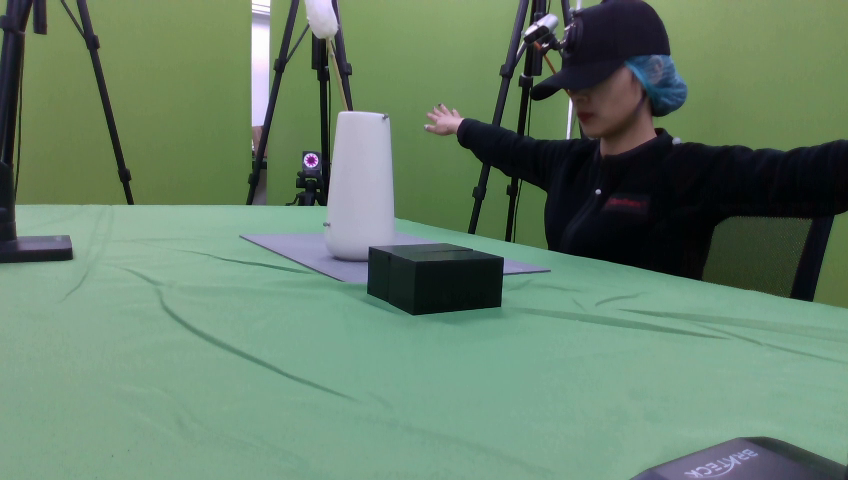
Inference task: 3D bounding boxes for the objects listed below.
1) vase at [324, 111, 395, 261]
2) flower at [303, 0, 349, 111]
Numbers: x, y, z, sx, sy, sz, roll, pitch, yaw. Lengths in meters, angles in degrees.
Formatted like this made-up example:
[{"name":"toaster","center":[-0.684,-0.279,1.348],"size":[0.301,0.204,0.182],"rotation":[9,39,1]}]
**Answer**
[{"name":"vase","center":[-0.087,-0.074,0.829],"size":[0.098,0.200,0.098],"rotation":[2,9,0]},{"name":"flower","center":[-0.099,-0.157,0.825],"size":[0.038,0.361,0.044],"rotation":[-15,5,-1]}]
